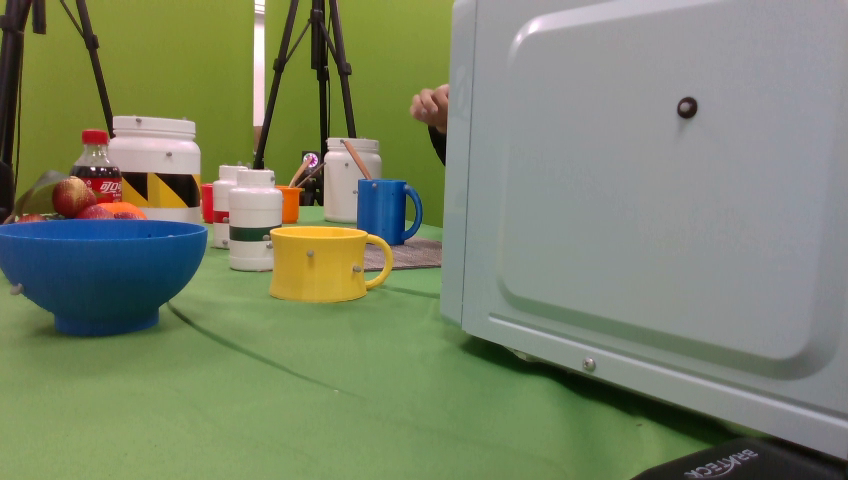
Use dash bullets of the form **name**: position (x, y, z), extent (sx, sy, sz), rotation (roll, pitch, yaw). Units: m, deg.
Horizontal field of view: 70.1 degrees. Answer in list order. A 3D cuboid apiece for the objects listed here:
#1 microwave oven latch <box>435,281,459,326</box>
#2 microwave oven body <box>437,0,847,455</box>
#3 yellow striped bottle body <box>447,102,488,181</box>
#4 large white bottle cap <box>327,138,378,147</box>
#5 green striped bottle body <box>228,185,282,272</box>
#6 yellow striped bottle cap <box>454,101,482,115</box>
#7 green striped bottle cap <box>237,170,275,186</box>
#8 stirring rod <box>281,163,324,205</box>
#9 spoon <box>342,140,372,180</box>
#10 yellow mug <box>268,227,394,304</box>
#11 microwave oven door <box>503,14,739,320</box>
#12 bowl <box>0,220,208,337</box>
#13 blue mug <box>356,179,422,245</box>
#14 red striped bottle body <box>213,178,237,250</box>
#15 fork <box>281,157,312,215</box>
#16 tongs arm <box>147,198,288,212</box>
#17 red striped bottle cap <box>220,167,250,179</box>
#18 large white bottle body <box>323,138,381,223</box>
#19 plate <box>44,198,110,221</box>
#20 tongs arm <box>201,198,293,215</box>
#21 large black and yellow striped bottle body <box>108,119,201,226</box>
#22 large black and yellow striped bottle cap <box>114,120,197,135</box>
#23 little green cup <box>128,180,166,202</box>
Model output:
- **microwave oven latch**: position (0.044, 0.045, 0.470), extent (0.079, 0.029, 0.030), rotation (-3, 8, -39)
- **microwave oven body**: position (0.279, -0.040, 0.465), extent (0.444, 0.260, 0.324), rotation (-3, 9, -41)
- **yellow striped bottle body**: position (0.069, -0.157, 0.959), extent (0.063, 0.120, 0.063), rotation (-2, 11, 1)
- **large white bottle cap**: position (-0.160, -0.218, 1.357), extent (0.115, 0.018, 0.115), rotation (2, 8, 0)
- **green striped bottle body**: position (-0.208, -0.023, 0.745), extent (0.063, 0.119, 0.063), rotation (2, 7, 0)
- **yellow striped bottle cap**: position (0.069, -0.208, 0.951), extent (0.044, 0.018, 0.044), rotation (-6, 13, 2)
- **green striped bottle cap**: position (-0.205, -0.075, 0.737), extent (0.044, 0.020, 0.044), rotation (1, 7, 0)
- **stirring rod**: position (-0.278, -0.105, 1.293), extent (0.176, 0.006, 0.014), rotation (-47, 24, -18)
- **spoon**: position (-0.093, -0.094, 1.024), extent (0.042, 0.193, 0.021), rotation (-8, -23, -50)
- **yellow mug**: position (-0.094, 0.023, 0.629), extent (0.131, 0.064, 0.099), rotation (0, 7, -22)
- **microwave oven door**: position (0.217, -0.065, 0.601), extent (0.358, 0.243, 0.039), rotation (-4, 10, -41)
- **bowl**: position (-0.251, 0.029, 0.479), extent (0.151, 0.077, 0.151), rotation (2, 7, 0)
- **blue mug**: position (-0.057, -0.047, 1.006), extent (0.116, 0.106, 0.082), rotation (5, 8, 21)
- **red striped bottle body**: position (-0.284, -0.048, 0.909), extent (0.063, 0.119, 0.063), rotation (3, 10, 0)
- **fork**: position (-0.290, -0.116, 1.321), extent (0.028, 0.019, 0.207), rotation (6, 51, 19)
- **tongs arm**: position (-0.503, -0.090, 1.513), extent (0.028, 0.028, 0.389), rotation (-1, 3, 38)
- **red striped bottle cap**: position (-0.281, -0.100, 0.901), extent (0.044, 0.017, 0.044), rotation (-1, 5, 0)
- **large white bottle body**: position (-0.163, -0.135, 1.368), extent (0.131, 0.184, 0.130), rotation (2, 7, 0)
- **plate**: position (-0.617, -0.056, 1.179), extent (0.209, 0.038, 0.209), rotation (3, 7, 0)
- **tongs arm**: position (-0.423, -0.084, 1.472), extent (0.050, 0.026, 0.386), rotation (1, 6, 22)
- **large black and yellow striped bottle body**: position (-0.412, -0.088, 0.930), extent (0.131, 0.184, 0.130), rotation (3, 7, 0)
- **large black and yellow striped bottle cap**: position (-0.407, -0.171, 0.920), extent (0.115, 0.019, 0.115), rotation (2, 9, 0)
- **little green cup**: position (-0.485, -0.087, 1.062), extent (0.061, 0.038, 0.061), rotation (-1, 6, 0)
